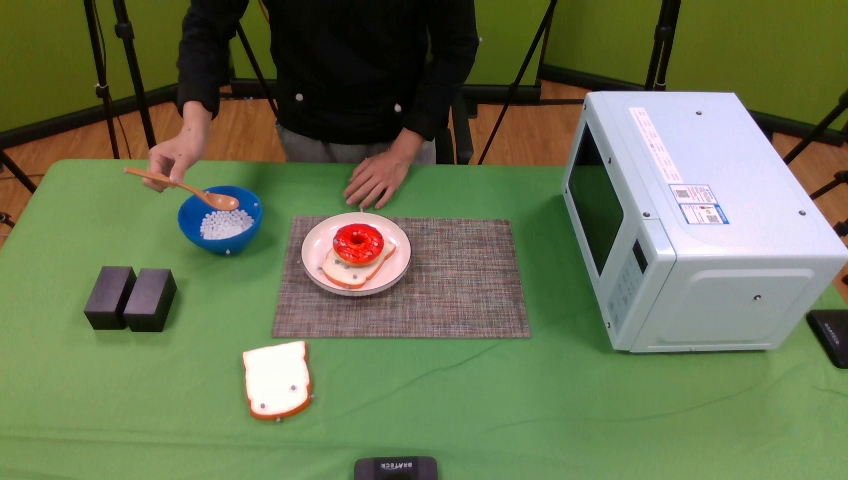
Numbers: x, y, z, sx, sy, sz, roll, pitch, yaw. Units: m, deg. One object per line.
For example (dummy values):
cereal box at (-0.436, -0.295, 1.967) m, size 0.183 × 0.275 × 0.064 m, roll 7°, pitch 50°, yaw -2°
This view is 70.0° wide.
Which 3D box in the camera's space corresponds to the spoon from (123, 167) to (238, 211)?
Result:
spoon at (-0.419, -0.091, 1.052) m, size 0.195 × 0.021 × 0.041 m, roll 24°, pitch 35°, yaw -33°

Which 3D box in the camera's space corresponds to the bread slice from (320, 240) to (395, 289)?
bread slice at (-0.129, 0.037, 1.140) m, size 0.107 × 0.018 × 0.134 m, roll 19°, pitch 47°, yaw 14°

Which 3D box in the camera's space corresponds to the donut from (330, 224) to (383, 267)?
donut at (-0.125, 0.010, 1.127) m, size 0.099 × 0.048 × 0.098 m, roll 3°, pitch 45°, yaw -3°

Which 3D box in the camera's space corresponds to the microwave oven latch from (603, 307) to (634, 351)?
microwave oven latch at (0.332, 0.153, 1.044) m, size 0.030 × 0.029 × 0.078 m, roll 0°, pitch 45°, yaw -4°

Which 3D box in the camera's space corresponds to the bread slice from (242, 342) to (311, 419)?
bread slice at (-0.233, 0.223, 0.970) m, size 0.105 × 0.019 × 0.130 m, roll -10°, pitch 46°, yaw -12°

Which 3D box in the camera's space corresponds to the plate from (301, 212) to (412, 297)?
plate at (-0.126, 0.031, 1.145) m, size 0.208 × 0.039 × 0.206 m, roll 2°, pitch 46°, yaw -2°

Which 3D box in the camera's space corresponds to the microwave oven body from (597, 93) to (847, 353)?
microwave oven body at (0.475, -0.041, 1.109) m, size 0.326 × 0.261 × 0.438 m, roll -1°, pitch 45°, yaw -4°

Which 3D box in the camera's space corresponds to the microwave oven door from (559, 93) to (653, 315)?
microwave oven door at (0.327, -0.074, 1.123) m, size 0.039 × 0.245 × 0.353 m, roll -1°, pitch 46°, yaw -5°

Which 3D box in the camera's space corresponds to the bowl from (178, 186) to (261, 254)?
bowl at (-0.383, -0.026, 1.158) m, size 0.151 × 0.077 × 0.150 m, roll 2°, pitch 46°, yaw -2°
